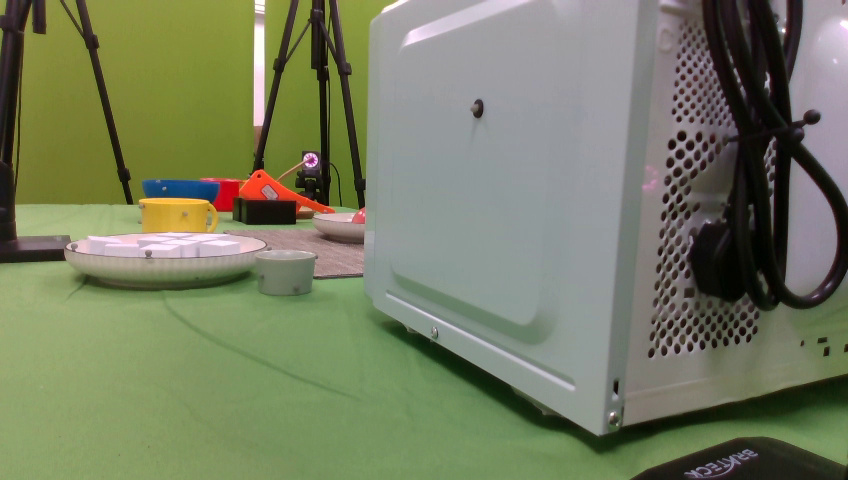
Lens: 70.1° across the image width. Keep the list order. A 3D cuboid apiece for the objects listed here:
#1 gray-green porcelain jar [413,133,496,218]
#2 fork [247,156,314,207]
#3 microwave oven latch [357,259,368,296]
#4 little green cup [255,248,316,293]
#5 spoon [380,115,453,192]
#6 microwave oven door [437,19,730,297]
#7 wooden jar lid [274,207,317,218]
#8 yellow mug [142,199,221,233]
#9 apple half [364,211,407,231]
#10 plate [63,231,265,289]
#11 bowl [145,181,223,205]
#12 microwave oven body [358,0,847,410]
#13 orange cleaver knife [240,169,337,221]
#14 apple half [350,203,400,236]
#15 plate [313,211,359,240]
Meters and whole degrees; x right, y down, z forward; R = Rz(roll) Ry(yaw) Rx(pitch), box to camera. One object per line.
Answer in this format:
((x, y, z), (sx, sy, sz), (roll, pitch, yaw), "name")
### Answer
((0.059, -0.112, 1.098), (0.106, 0.127, 0.106), (-38, 14, 11), "gray-green porcelain jar")
((-0.360, -0.147, 1.523), (0.207, 0.018, 0.028), (-43, 16, -7), "fork")
((-0.019, 0.031, 0.528), (0.079, 0.029, 0.030), (-1, 7, -25), "microwave oven latch")
((-0.144, 0.031, 0.627), (0.061, 0.038, 0.061), (2, 6, 0), "little green cup")
((-0.015, -0.160, 1.106), (0.042, 0.193, 0.021), (-33, -7, -42), "spoon")
((0.181, -0.076, 0.618), (0.358, 0.243, 0.039), (-2, 9, -28), "microwave oven door")
((-0.303, -0.065, 1.409), (0.108, 0.020, 0.108), (3, 9, 0), "wooden jar lid")
((-0.372, -0.030, 0.948), (0.099, 0.064, 0.131), (6, 7, 30), "yellow mug")
((-0.068, -0.037, 1.104), (0.081, 0.033, 0.081), (-1, 9, 0), "apple half")
((-0.288, 0.021, 0.687), (0.208, 0.039, 0.207), (2, 8, 0), "plate")
((-0.499, -0.081, 1.261), (0.151, 0.077, 0.151), (2, 8, 0), "bowl")
((0.210, -0.051, 0.471), (0.444, 0.260, 0.324), (-1, 7, -28), "microwave oven body")
((-0.287, -0.081, 1.298), (0.212, 0.077, 0.012), (25, -3, -31), "orange cleaver knife")
((-0.081, -0.036, 1.024), (0.081, 0.053, 0.074), (-2, 11, -34), "apple half")
((-0.090, -0.026, 1.063), (0.209, 0.038, 0.209), (2, 7, 0), "plate")
